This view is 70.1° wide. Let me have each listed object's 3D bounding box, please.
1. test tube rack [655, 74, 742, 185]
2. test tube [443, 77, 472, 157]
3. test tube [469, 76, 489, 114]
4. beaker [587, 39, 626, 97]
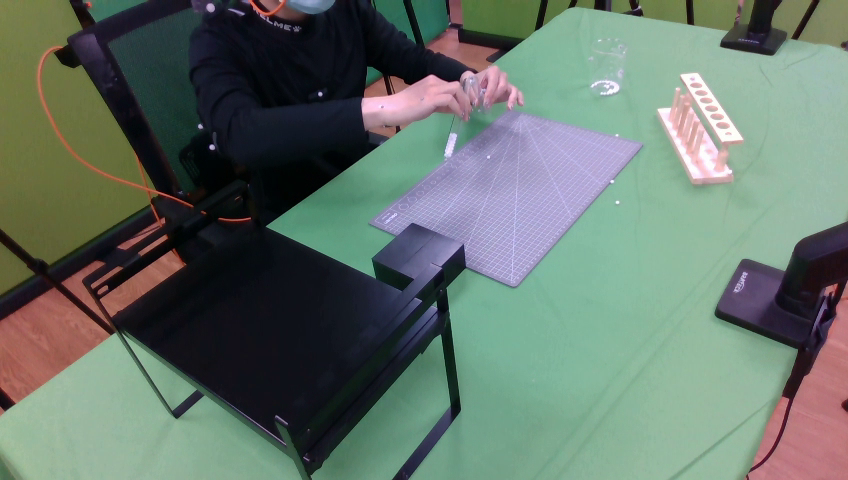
[{"bbox_3d":[0.488,-0.205,1.093,0.067,0.085,0.241,-3,41,5],"label":"test tube rack"},{"bbox_3d":[0.056,-0.207,1.015,0.017,0.017,0.150,10,74,19],"label":"test tube"},{"bbox_3d":[0.104,-0.268,1.127,0.017,0.151,0.017,-2,79,14],"label":"test tube"},{"bbox_3d":[0.386,-0.361,1.280,0.074,0.101,0.083,-22,43,-15],"label":"beaker"}]
